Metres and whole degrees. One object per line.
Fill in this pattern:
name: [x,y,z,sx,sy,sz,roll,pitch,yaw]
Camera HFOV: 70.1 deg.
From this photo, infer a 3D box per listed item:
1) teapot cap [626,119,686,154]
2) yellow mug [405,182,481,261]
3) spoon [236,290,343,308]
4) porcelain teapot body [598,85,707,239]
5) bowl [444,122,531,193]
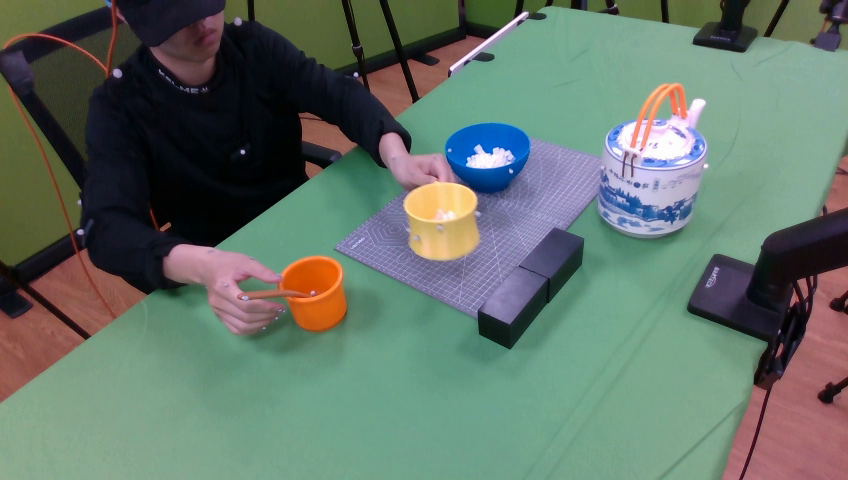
teapot cap: [0.338,-0.153,0.882,0.085,0.044,0.085,-3,38,3]
yellow mug: [0.026,-0.035,0.844,0.100,0.064,0.130,-7,35,-1]
spoon: [-0.176,0.076,0.808,0.041,0.195,0.021,23,93,30]
porcelain teapot body: [0.363,-0.137,0.921,0.144,0.226,0.206,28,51,36]
bowl: [0.113,-0.136,1.063,0.151,0.077,0.150,-4,41,4]
